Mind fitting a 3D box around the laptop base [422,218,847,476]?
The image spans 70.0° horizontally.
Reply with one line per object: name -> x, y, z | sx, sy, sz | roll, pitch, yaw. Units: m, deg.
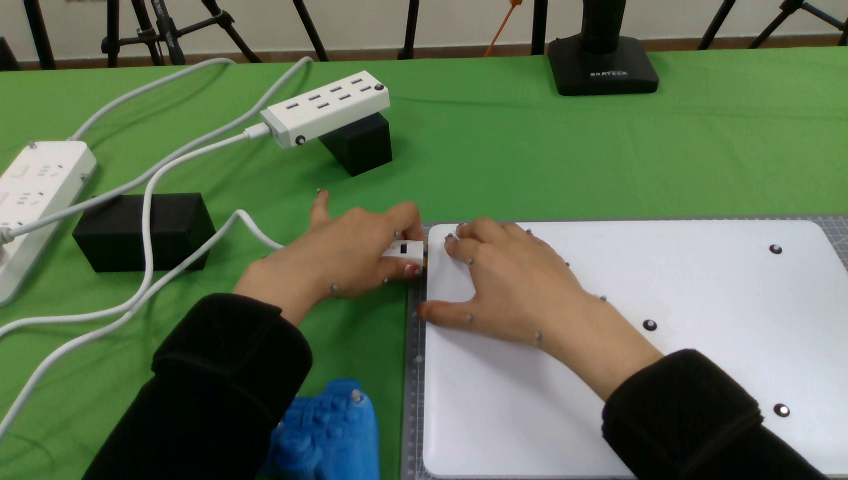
laptop base -> 0.177, 0.074, 0.484 | 0.354, 0.023, 0.233 | -1, 50, 2

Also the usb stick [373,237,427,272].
usb stick -> -0.015, 0.013, 0.529 | 0.059, 0.027, 0.021 | 3, 50, -7

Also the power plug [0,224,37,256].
power plug -> -0.368, 0.011, 0.523 | 0.072, 0.053, 0.035 | 10, 47, 9

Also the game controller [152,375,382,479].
game controller -> -0.105, 0.137, 0.416 | 0.155, 0.052, 0.096 | 0, 42, 2

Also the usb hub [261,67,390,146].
usb hub -> -0.100, -0.138, 0.625 | 0.125, 0.025, 0.049 | -29, 53, -22

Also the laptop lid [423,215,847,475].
laptop lid -> 0.176, 0.067, 0.474 | 0.356, 0.013, 0.239 | 0, 49, 3

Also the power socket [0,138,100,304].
power socket -> -0.394, -0.026, 0.592 | 0.072, 0.033, 0.224 | 1, 46, 3
